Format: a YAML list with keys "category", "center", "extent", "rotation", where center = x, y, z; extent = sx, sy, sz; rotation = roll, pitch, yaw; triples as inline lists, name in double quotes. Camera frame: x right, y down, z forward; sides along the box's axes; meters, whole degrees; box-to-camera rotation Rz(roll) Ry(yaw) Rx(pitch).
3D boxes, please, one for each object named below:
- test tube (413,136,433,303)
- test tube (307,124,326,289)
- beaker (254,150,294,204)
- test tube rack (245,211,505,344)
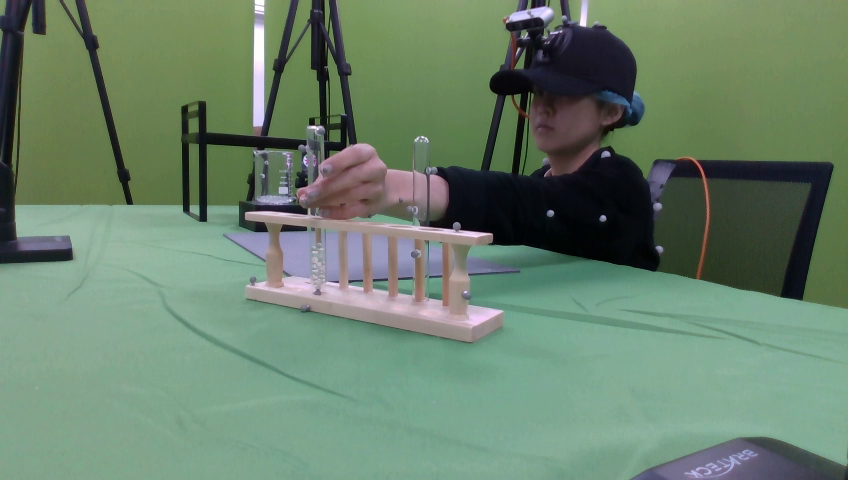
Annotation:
- category: "test tube"
  center: [-0.002, -0.016, 0.538]
  extent: [0.017, 0.150, 0.017]
  rotation: [1, 8, 0]
- category: "test tube"
  center: [-0.096, -0.028, 0.546]
  extent: [0.017, 0.150, 0.017]
  rotation: [1, 10, 0]
- category: "beaker"
  center: [-0.289, -0.120, 1.151]
  extent: [0.073, 0.100, 0.084]
  rotation: [8, 9, 33]
- category: "test tube rack"
  center: [-0.049, 0.025, 0.547]
  extent: [0.241, 0.085, 0.067]
  rotation: [7, 8, 29]
